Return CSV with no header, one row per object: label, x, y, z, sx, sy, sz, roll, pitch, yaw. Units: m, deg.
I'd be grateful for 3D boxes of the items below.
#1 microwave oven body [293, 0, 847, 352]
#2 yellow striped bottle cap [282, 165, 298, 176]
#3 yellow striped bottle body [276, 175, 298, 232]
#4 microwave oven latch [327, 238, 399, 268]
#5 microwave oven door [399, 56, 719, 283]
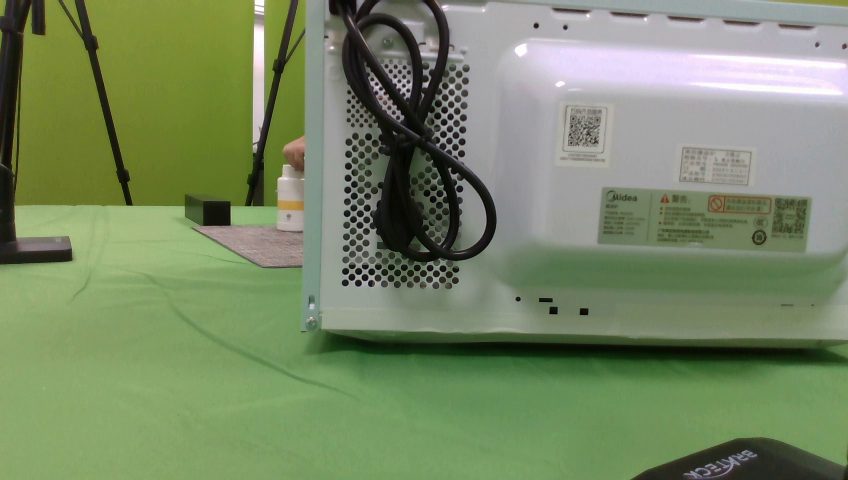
microwave oven body,0.122,-0.055,0.550,0.442,0.260,0.325,3,7,-5
yellow striped bottle cap,-0.241,-0.129,1.122,0.044,0.018,0.044,1,6,0
yellow striped bottle body,-0.244,-0.078,1.129,0.063,0.120,0.063,2,8,0
microwave oven latch,-0.069,0.015,0.694,0.079,0.029,0.030,3,7,-3
microwave oven door,0.154,-0.078,0.698,0.356,0.243,0.039,2,8,-5
